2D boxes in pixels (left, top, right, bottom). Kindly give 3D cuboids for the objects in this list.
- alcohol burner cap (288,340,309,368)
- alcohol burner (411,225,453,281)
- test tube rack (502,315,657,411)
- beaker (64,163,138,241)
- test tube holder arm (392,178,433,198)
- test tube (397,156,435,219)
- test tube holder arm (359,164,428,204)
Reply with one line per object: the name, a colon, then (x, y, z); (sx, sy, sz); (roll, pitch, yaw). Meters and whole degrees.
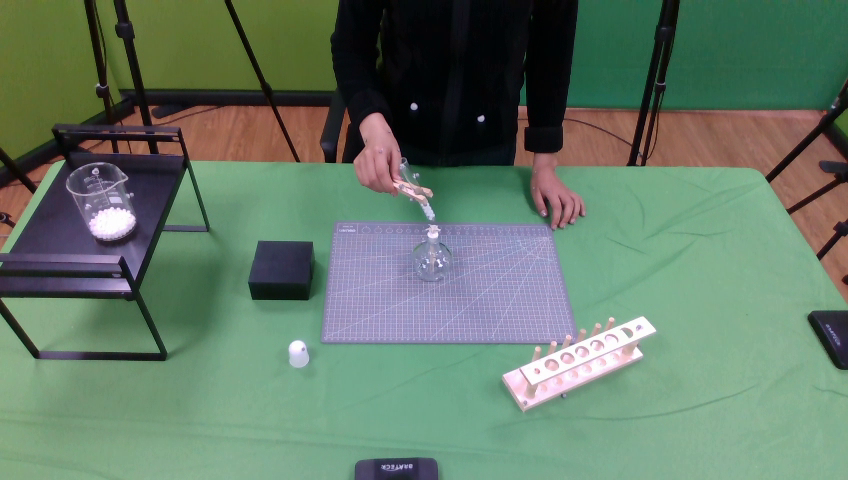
alcohol burner cap: (-0.207, 0.183, 0.991); (0.034, 0.048, 0.033); (3, 46, -3)
alcohol burner: (0.015, 0.018, 1.110); (0.078, 0.120, 0.077); (1, 45, -1)
test tube rack: (0.253, 0.186, 0.988); (0.242, 0.085, 0.066); (-18, 50, -20)
beaker: (-0.477, -0.055, 0.910); (0.084, 0.101, 0.073); (-9, 48, -13)
test tube holder arm: (-0.022, -0.088, 1.015); (0.087, 0.015, 0.010); (20, 63, 38)
test tube: (-0.011, -0.082, 0.994); (0.017, 0.151, 0.017); (-12, 51, 15)
test tube holder arm: (-0.057, -0.099, 1.042); (0.177, 0.015, 0.013); (28, 67, 40)
